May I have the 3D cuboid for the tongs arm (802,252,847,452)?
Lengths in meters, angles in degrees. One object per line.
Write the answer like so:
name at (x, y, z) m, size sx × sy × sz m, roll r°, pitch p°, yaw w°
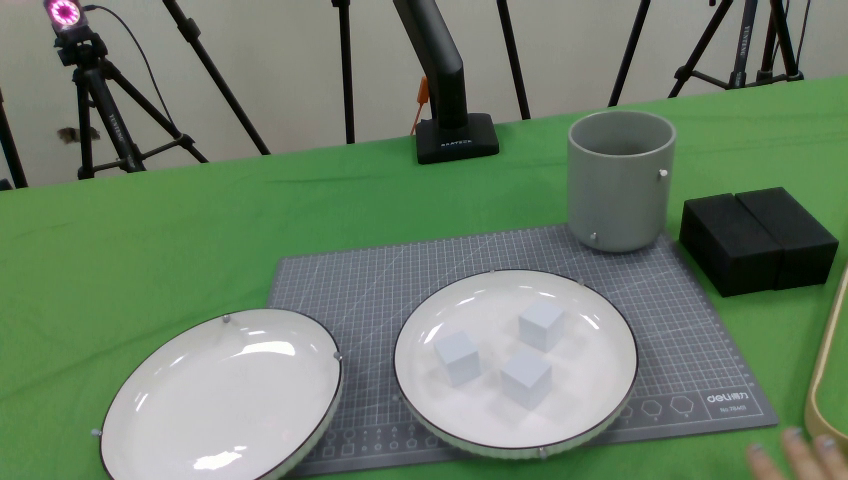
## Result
tongs arm at (0.400, 0.040, 0.563) m, size 0.028 × 0.028 × 0.387 m, roll 21°, pitch 46°, yaw 31°

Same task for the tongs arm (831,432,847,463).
tongs arm at (0.457, 0.065, 0.510) m, size 0.385 × 0.027 × 0.050 m, roll -32°, pitch 41°, yaw -27°

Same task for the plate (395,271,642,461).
plate at (0.080, 0.106, 0.530) m, size 0.207 × 0.039 × 0.205 m, roll -6°, pitch 36°, yaw 5°

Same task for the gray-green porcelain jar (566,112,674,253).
gray-green porcelain jar at (0.206, -0.058, 0.649) m, size 0.106 × 0.128 × 0.105 m, roll -6°, pitch 36°, yaw 5°

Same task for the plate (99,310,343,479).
plate at (-0.170, 0.145, 0.532) m, size 0.209 × 0.038 × 0.207 m, roll -7°, pitch 36°, yaw 6°
